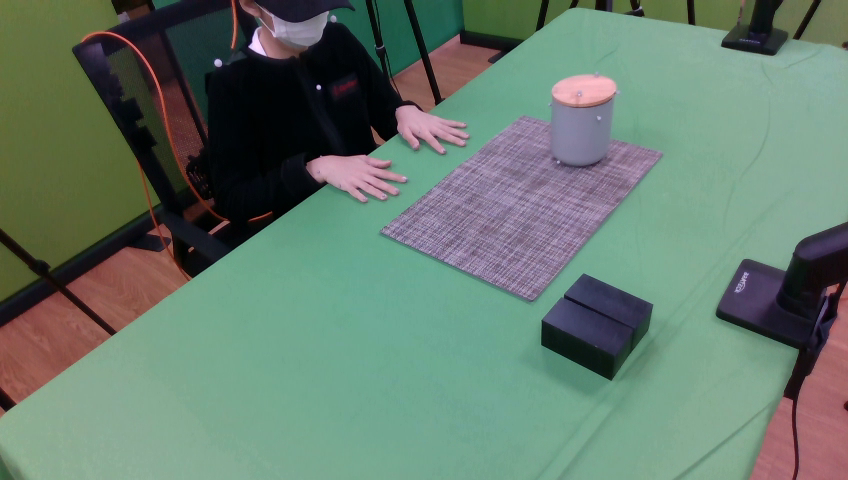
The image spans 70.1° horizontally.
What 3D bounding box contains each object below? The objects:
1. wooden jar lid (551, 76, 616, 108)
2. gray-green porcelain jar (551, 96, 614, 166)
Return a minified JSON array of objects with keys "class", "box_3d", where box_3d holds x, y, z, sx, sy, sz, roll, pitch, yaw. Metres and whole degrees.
[{"class":"wooden jar lid","box_3d":[0.276,-0.252,1.046,0.108,0.021,0.108,-6,39,5]},{"class":"gray-green porcelain jar","box_3d":[0.282,-0.205,1.087,0.106,0.127,0.105,-5,40,4]}]
